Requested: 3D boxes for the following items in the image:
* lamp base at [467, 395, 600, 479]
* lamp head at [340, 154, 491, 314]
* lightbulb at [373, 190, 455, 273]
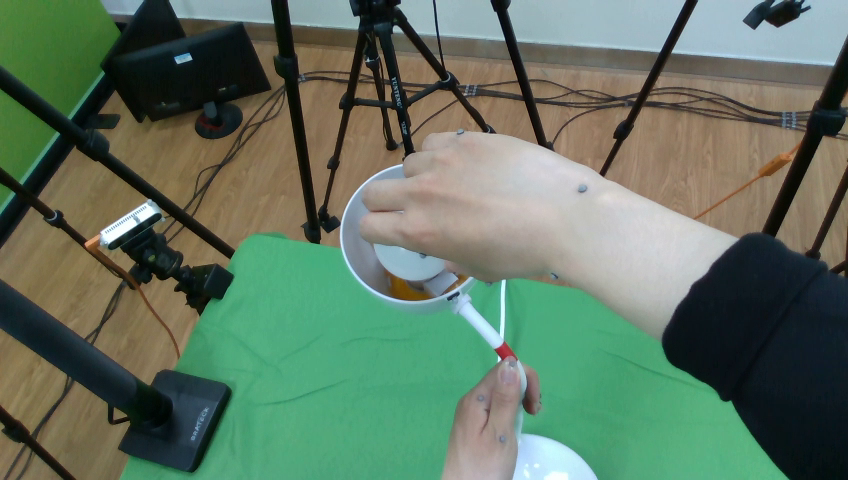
[{"bbox_3d":[0.113,0.249,0.651,0.161,0.182,0.177,-25,55,-8],"label":"lamp base"},{"bbox_3d":[0.000,0.009,0.488,0.112,0.124,0.111,-3,66,6],"label":"lamp head"},{"bbox_3d":[-0.006,0.000,0.458,0.059,0.108,0.059,0,76,1],"label":"lightbulb"}]
